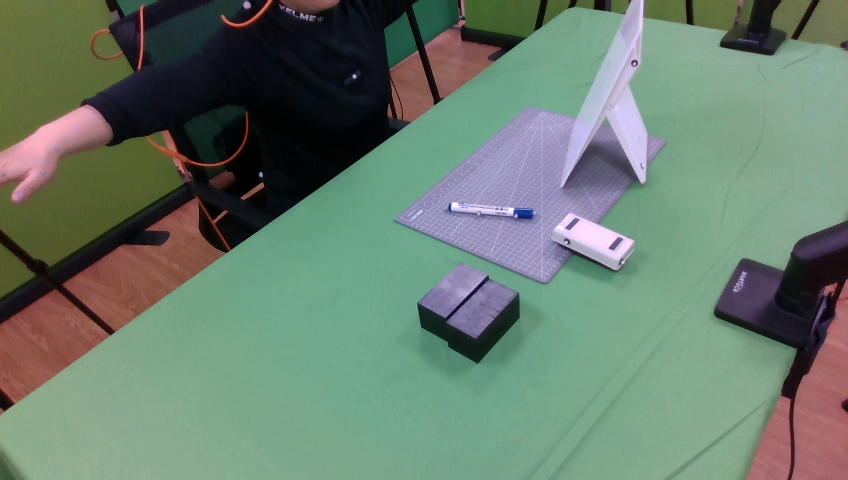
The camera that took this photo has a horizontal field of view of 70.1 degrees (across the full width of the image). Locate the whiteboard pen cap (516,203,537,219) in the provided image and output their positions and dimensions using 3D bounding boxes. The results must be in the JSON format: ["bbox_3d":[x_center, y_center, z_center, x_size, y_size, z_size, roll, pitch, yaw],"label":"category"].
[{"bbox_3d":[0.171,-0.048,1.004,0.033,0.018,0.018,-23,42,-19],"label":"whiteboard pen cap"}]

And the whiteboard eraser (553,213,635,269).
[{"bbox_3d":[0.257,0.003,0.918,0.112,0.042,0.056,27,49,30],"label":"whiteboard eraser"}]

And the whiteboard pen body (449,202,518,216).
[{"bbox_3d":[0.111,-0.052,1.021,0.140,0.017,0.017,6,42,16],"label":"whiteboard pen body"}]

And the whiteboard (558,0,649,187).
[{"bbox_3d":[0.361,-0.238,1.026,0.144,0.306,0.217,21,44,4],"label":"whiteboard"}]
